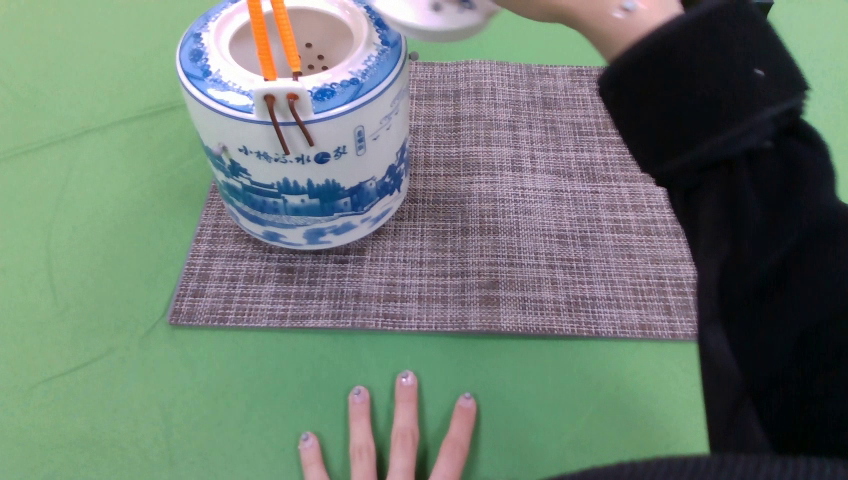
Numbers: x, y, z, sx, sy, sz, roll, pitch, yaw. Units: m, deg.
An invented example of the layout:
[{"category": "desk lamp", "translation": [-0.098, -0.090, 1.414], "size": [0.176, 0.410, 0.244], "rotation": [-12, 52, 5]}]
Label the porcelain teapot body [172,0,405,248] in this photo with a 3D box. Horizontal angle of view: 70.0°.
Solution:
[{"category": "porcelain teapot body", "translation": [-0.088, -0.130, 0.418], "size": [0.145, 0.227, 0.203], "rotation": [-4, 53, -4]}]

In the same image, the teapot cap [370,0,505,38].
[{"category": "teapot cap", "translation": [0.007, -0.153, 0.351], "size": [0.085, 0.044, 0.084], "rotation": [0, 52, 1]}]
